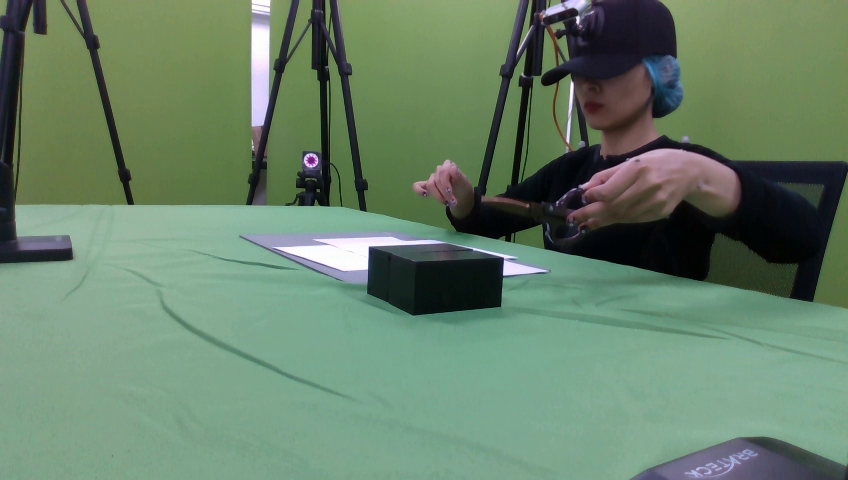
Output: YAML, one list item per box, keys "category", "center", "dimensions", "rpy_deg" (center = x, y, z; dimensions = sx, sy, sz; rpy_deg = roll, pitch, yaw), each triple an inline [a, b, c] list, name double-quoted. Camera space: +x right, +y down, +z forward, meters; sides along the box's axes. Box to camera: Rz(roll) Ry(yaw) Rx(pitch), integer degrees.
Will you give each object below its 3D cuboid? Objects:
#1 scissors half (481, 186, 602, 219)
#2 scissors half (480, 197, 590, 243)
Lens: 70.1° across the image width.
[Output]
- category: "scissors half"
  center: [0.136, -0.043, 0.683]
  dimensions: [0.176, 0.040, 0.013]
  rpy_deg: [-1, 29, -30]
- category: "scissors half"
  center: [0.128, -0.026, 0.691]
  dimensions: [0.176, 0.040, 0.012]
  rpy_deg: [17, 25, -37]
